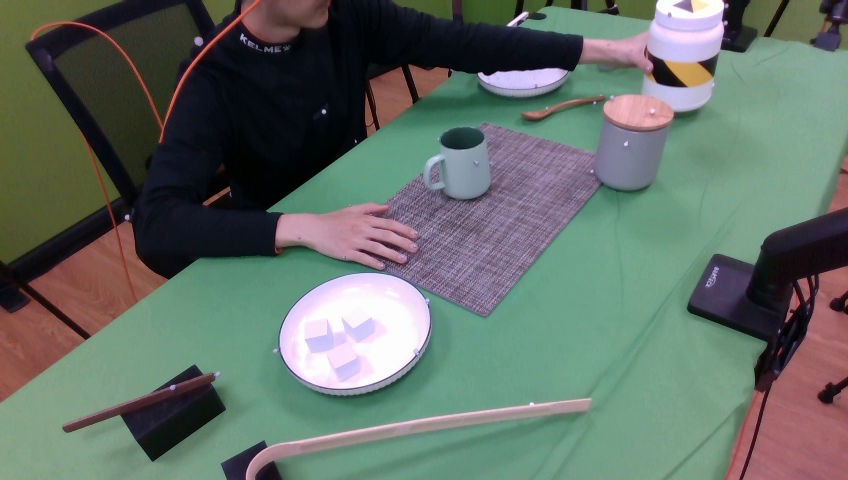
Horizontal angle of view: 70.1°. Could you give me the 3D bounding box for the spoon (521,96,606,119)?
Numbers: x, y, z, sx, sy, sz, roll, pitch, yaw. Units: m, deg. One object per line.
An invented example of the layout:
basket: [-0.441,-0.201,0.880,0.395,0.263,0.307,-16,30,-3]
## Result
spoon: [0.291,-0.277,1.249,0.194,0.022,0.041,-18,23,-11]

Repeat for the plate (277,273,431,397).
plate: [-0.091,0.129,0.821,0.207,0.039,0.206,-4,40,4]

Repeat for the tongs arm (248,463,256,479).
tongs arm: [0.012,0.262,0.615,0.385,0.026,0.050,2,42,-2]

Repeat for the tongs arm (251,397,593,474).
tongs arm: [0.008,0.212,0.675,0.389,0.028,0.028,-5,46,-11]

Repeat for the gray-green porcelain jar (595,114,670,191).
gray-green porcelain jar: [0.346,-0.155,1.017,0.106,0.127,0.105,-2,43,2]

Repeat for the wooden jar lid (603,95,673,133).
wooden jar lid: [0.343,-0.200,0.974,0.108,0.021,0.108,-1,39,2]

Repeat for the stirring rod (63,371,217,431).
stirring rod: [-0.337,0.192,0.723,0.177,0.014,0.005,-18,43,-12]

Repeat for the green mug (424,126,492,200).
green mug: [0.055,-0.125,1.039,0.126,0.105,0.091,-26,44,-20]

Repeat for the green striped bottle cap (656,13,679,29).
green striped bottle cap: [0.515,-0.463,1.278,0.044,0.020,0.044,-6,42,6]

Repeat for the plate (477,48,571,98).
plate: [0.223,-0.371,1.357,0.209,0.038,0.208,-4,41,4]

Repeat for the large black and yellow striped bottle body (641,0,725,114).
large black and yellow striped bottle body: [0.488,-0.349,1.142,0.131,0.185,0.130,-5,42,5]

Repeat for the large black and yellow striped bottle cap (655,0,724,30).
large black and yellow striped bottle cap: [0.476,-0.410,1.088,0.115,0.019,0.114,-4,43,4]

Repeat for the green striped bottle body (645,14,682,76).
green striped bottle body: [0.520,-0.425,1.312,0.063,0.120,0.063,-4,40,4]

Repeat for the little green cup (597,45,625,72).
little green cup: [0.423,-0.412,1.375,0.061,0.039,0.061,-5,42,5]
